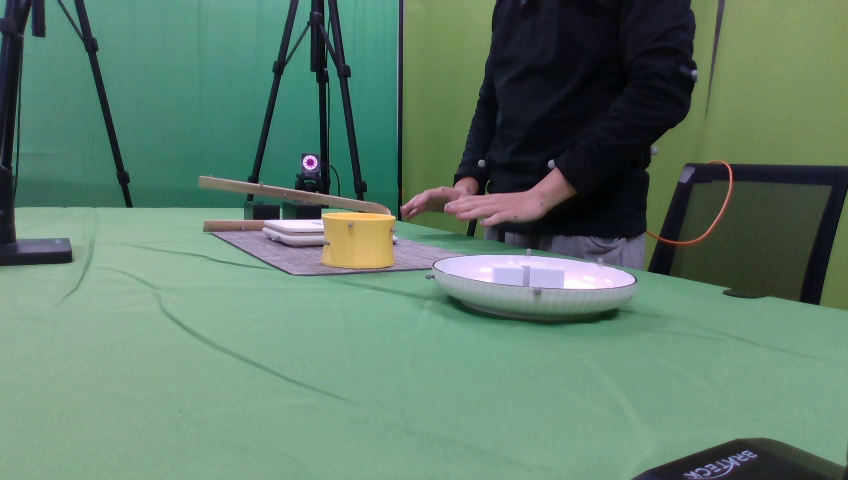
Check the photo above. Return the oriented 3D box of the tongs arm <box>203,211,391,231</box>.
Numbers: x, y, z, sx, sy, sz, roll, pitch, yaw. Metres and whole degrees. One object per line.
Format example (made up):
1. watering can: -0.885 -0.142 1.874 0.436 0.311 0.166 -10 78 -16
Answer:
1. tongs arm: -0.231 -0.035 1.185 0.390 0.028 0.028 -3 33 -33

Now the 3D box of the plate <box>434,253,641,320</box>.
1. plate: 0.114 0.047 0.625 0.208 0.039 0.207 2 7 0

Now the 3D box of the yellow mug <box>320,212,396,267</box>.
1. yellow mug: -0.089 -0.004 0.825 0.100 0.064 0.131 2 6 -2

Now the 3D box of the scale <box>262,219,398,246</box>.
1. scale: -0.160 -0.016 1.028 0.202 0.031 0.148 -1 8 -32

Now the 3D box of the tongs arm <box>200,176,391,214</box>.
1. tongs arm: -0.258 -0.084 1.245 0.387 0.026 0.050 6 32 -22
